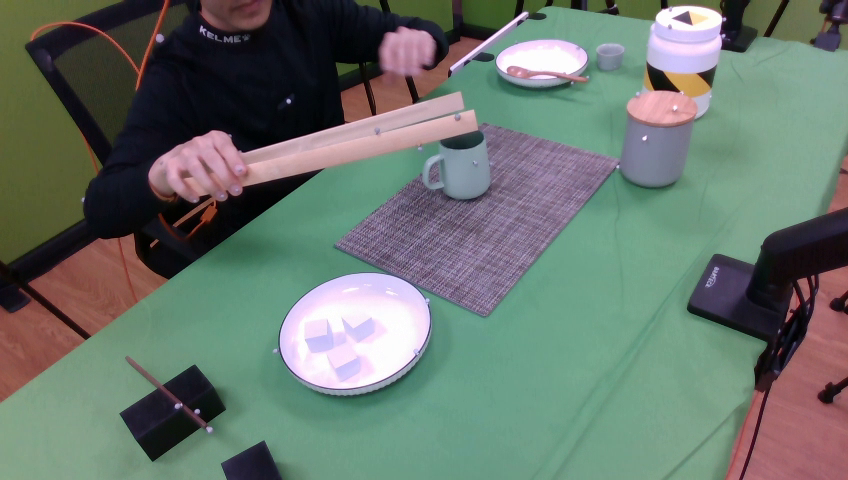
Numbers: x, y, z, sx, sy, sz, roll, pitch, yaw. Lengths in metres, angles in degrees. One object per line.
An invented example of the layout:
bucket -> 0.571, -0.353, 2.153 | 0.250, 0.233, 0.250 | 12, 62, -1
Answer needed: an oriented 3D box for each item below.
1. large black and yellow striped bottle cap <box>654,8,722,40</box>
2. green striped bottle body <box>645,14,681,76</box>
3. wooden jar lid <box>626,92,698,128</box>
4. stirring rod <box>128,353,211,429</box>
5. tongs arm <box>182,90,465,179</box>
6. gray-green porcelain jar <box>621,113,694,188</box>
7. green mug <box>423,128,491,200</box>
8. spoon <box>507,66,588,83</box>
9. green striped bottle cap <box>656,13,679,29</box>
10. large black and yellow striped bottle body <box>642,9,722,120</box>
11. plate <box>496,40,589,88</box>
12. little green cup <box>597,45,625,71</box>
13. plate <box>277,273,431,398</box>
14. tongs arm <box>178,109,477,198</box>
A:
large black and yellow striped bottle cap -> 0.483, -0.397, 1.108 | 0.115, 0.019, 0.114 | -3, 41, 3
green striped bottle body -> 0.520, -0.424, 1.312 | 0.063, 0.120, 0.063 | -4, 41, 4
wooden jar lid -> 0.384, -0.207, 0.980 | 0.108, 0.021, 0.108 | -6, 39, 5
stirring rod -> -0.311, 0.180, 0.732 | 0.175, 0.014, 0.006 | 25, 54, 32
tongs arm -> -0.129, -0.135, 0.812 | 0.388, 0.028, 0.028 | -18, 28, -5
gray-green porcelain jar -> 0.390, -0.161, 1.020 | 0.106, 0.127, 0.105 | -4, 41, 4
green mug -> 0.055, -0.125, 1.039 | 0.126, 0.105, 0.091 | -25, 44, -19
spoon -> 0.265, -0.357, 1.311 | 0.192, 0.022, 0.042 | 18, 47, 38
green striped bottle cap -> 0.515, -0.463, 1.278 | 0.044, 0.020, 0.044 | -6, 42, 6
large black and yellow striped bottle body -> 0.493, -0.334, 1.161 | 0.131, 0.185, 0.130 | -4, 41, 4
plate -> 0.268, -0.397, 1.381 | 0.209, 0.038, 0.208 | -4, 41, 4
little green cup -> 0.422, -0.413, 1.375 | 0.061, 0.039, 0.061 | -3, 41, 3
plate -> -0.091, 0.129, 0.821 | 0.207, 0.039, 0.206 | -4, 40, 4
tongs arm -> -0.125, -0.106, 0.742 | 0.384, 0.026, 0.050 | -13, 25, 6
